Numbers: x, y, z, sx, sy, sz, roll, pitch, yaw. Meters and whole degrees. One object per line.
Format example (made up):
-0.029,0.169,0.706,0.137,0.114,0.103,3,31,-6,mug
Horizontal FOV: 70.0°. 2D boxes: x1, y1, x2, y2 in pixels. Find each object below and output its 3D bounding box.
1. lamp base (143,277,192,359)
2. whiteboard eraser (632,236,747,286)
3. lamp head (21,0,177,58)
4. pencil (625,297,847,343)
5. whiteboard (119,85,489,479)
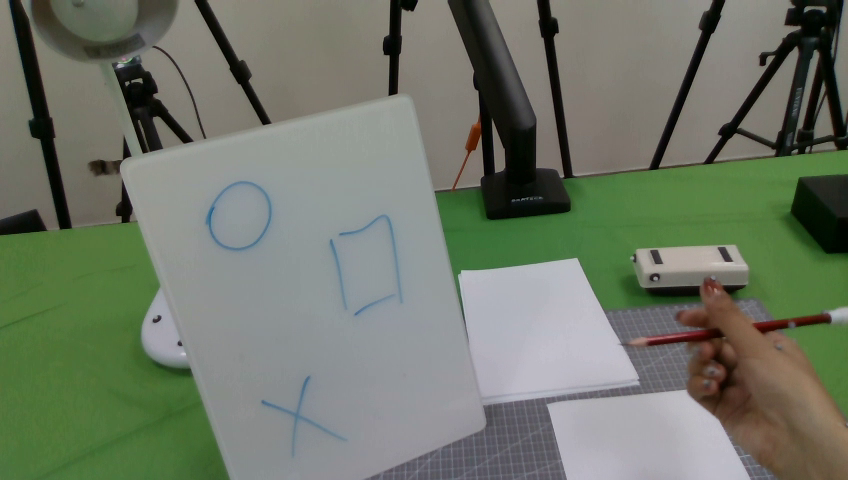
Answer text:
-0.264,0.014,0.678,0.177,0.182,0.160,19,41,38,lamp base
0.297,0.025,0.683,0.112,0.042,0.055,-2,34,8,whiteboard eraser
-0.274,-0.222,0.482,0.112,0.113,0.122,-28,63,-28,lamp head
0.233,0.058,0.436,0.194,0.012,0.012,-7,32,-11,pencil
-0.095,0.041,0.542,0.217,0.307,0.143,-18,15,-14,whiteboard
